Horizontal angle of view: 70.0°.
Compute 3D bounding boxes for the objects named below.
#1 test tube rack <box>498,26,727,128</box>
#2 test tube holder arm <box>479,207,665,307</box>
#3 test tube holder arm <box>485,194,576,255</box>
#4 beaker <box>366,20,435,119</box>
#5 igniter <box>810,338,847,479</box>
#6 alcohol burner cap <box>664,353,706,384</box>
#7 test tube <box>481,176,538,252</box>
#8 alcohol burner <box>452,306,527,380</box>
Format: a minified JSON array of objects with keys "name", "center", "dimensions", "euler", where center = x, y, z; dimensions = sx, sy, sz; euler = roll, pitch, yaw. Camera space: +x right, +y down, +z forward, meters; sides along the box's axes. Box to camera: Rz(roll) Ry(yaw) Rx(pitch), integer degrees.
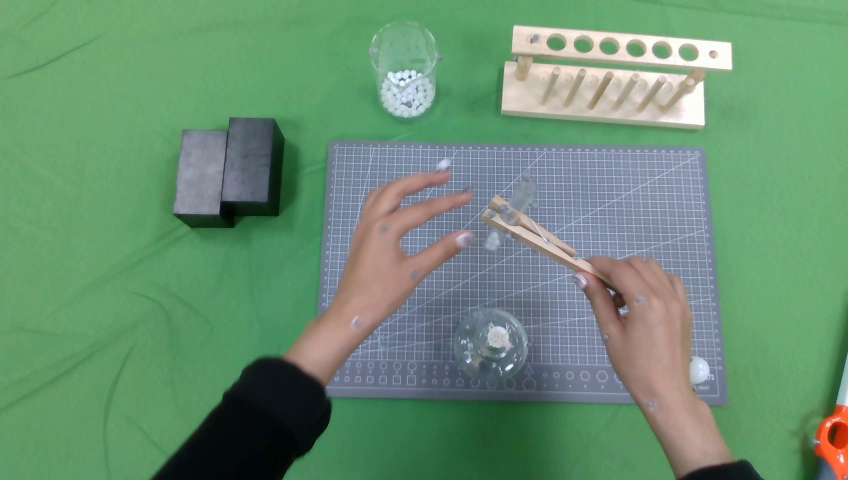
[{"name":"test tube rack","center":[0.213,-0.188,0.708],"dimensions":[0.242,0.085,0.066],"euler":[5,76,1]},{"name":"test tube holder arm","center":[0.130,0.016,0.530],"dimensions":[0.178,0.015,0.013],"euler":[28,67,-3]},{"name":"test tube holder arm","center":[0.093,-0.011,0.530],"dimensions":[0.088,0.015,0.010],"euler":[35,67,0]},{"name":"beaker","center":[-0.025,-0.189,0.699],"dimensions":[0.074,0.101,0.083],"euler":[4,76,1]},{"name":"igniter","center":[0.447,0.186,0.642],"dimensions":[0.057,0.025,0.275],"euler":[24,77,-4]},{"name":"alcohol burner cap","center":[0.280,0.136,0.644],"dimensions":[0.034,0.048,0.033],"euler":[0,74,0]},{"name":"test tube","center":[0.071,-0.018,0.532],"dimensions":[0.017,0.151,0.017],"euler":[2,71,-6]},{"name":"alcohol burner","center":[0.068,0.102,0.614],"dimensions":[0.078,0.119,0.077],"euler":[1,74,-2]}]
